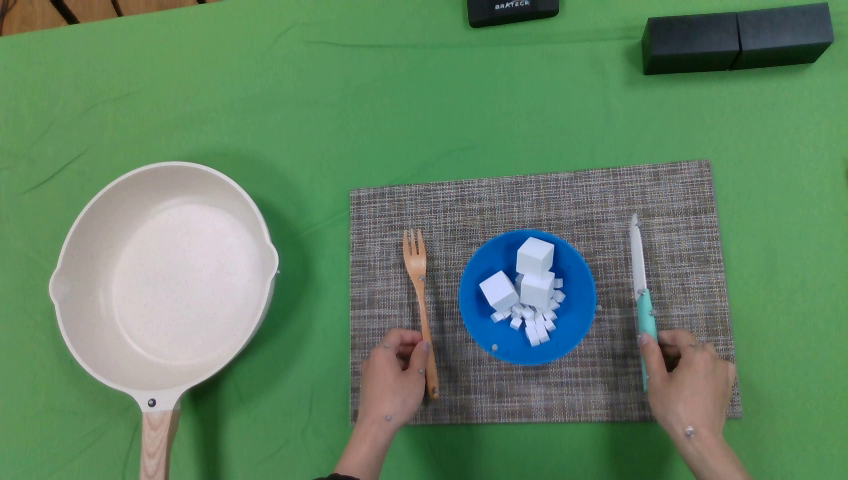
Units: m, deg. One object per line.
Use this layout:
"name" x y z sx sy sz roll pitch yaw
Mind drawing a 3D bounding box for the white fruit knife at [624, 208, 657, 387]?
"white fruit knife" 0.243 0.061 0.691 0.016 0.027 0.206 4 72 -17

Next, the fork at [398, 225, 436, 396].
"fork" -0.006 0.083 0.730 0.028 0.018 0.206 -5 75 -14

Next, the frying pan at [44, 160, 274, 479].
"frying pan" -0.321 0.142 0.741 0.306 0.103 0.484 -6 69 9

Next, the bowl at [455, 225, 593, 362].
"bowl" 0.114 0.065 0.696 0.151 0.077 0.150 -2 78 9
